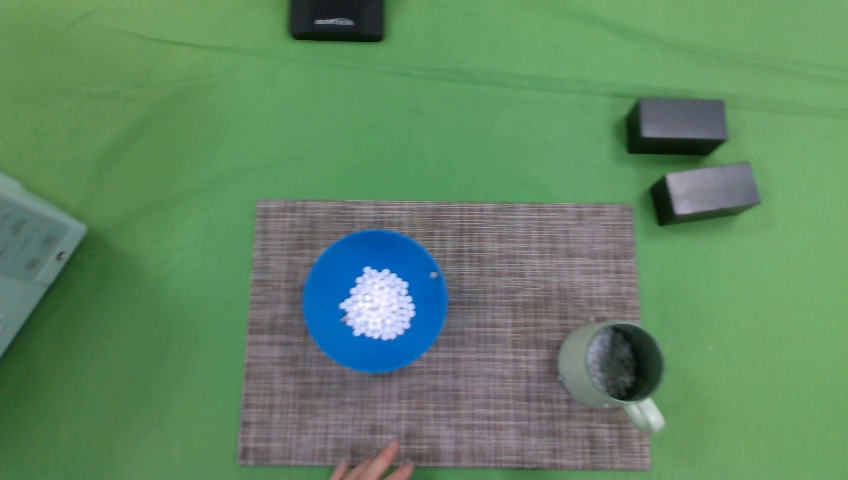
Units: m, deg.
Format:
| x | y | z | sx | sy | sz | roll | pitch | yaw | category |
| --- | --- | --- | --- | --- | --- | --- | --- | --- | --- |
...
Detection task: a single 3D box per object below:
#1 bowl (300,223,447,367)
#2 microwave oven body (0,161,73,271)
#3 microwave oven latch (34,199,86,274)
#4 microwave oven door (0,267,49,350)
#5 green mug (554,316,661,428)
| x | y | z | sx | sy | sz | roll | pitch | yaw | category |
| --- | --- | --- | --- | --- | --- | --- | --- | --- | --- |
| -0.053 | 0.064 | 0.660 | 0.151 | 0.077 | 0.150 | 0 | 78 | 0 | bowl |
| -0.628 | 0.056 | 0.560 | 0.325 | 0.261 | 0.440 | 29 | 80 | 5 | microwave oven body |
| -0.412 | -0.003 | 0.674 | 0.030 | 0.029 | 0.079 | 31 | 80 | 5 | microwave oven latch |
| -0.521 | 0.161 | 0.534 | 0.039 | 0.245 | 0.355 | 29 | 79 | 6 | microwave oven door |
| 0.199 | 0.138 | 0.634 | 0.092 | 0.105 | 0.125 | -31 | 80 | -7 | green mug |
